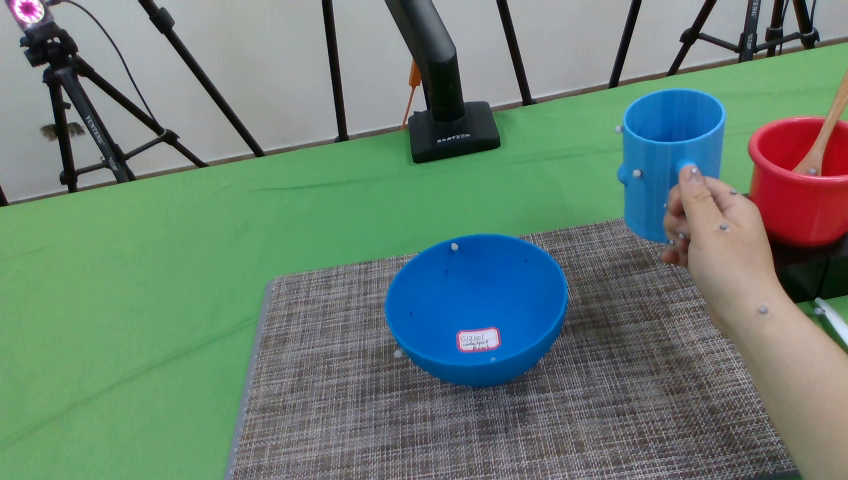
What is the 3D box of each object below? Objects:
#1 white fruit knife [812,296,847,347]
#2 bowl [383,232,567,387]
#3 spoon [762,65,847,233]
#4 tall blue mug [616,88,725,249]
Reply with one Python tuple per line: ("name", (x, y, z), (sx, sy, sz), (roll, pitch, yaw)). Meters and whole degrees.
("white fruit knife", (0.344, 0.112, 0.443), (0.027, 0.016, 0.205), (12, 35, -13))
("bowl", (0.047, 0.071, 0.516), (0.151, 0.077, 0.150), (-8, 40, 7))
("spoon", (0.340, -0.095, 0.508), (0.041, 0.022, 0.194), (28, 98, 41))
("tall blue mug", (0.214, -0.053, 0.503), (0.078, 0.109, 0.106), (-28, 43, -9))
